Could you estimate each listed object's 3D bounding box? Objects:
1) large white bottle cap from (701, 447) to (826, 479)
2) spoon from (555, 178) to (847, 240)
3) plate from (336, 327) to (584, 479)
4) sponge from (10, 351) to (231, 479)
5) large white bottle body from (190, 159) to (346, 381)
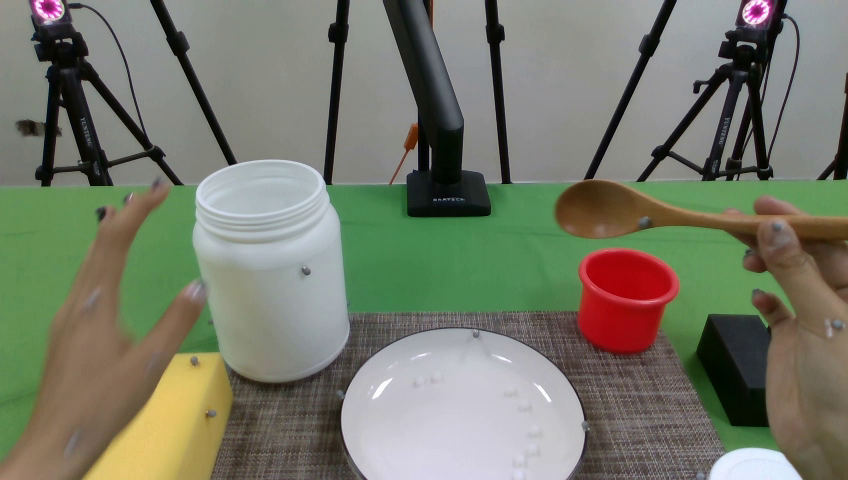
[{"bbox_3d":[0.273,0.211,0.467,0.115,0.018,0.114,3,33,-2],"label":"large white bottle cap"},{"bbox_3d":[0.172,-0.012,0.357,0.192,0.042,0.021,8,24,34],"label":"spoon"},{"bbox_3d":[0.030,0.157,0.523,0.209,0.038,0.207,1,33,0],"label":"plate"},{"bbox_3d":[-0.234,0.178,0.463,0.118,0.061,0.205,-2,33,-2],"label":"sponge"},{"bbox_3d":[-0.146,0.027,0.579,0.130,0.186,0.129,0,33,0],"label":"large white bottle body"}]
